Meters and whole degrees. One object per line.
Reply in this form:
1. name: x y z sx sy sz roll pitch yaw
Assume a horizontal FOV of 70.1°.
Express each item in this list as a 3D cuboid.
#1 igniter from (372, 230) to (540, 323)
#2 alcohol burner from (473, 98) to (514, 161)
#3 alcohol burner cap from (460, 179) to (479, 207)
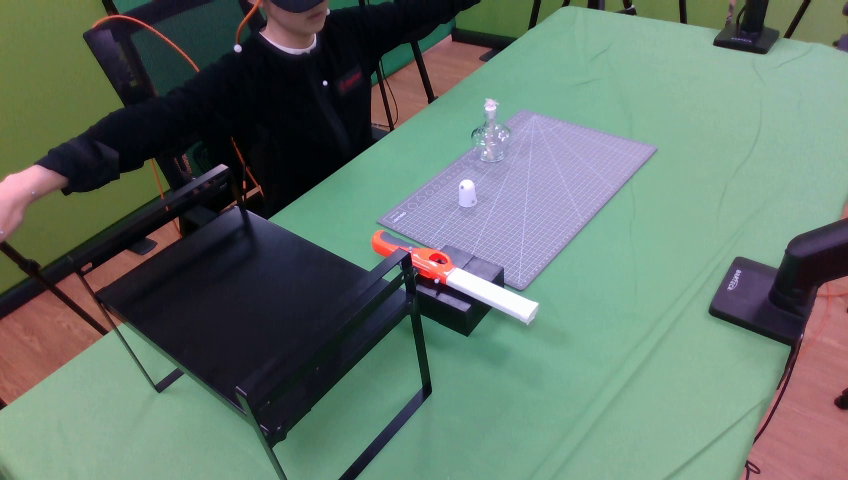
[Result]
1. igniter: 0.032 0.045 0.842 0.274 0.025 0.057 24 47 28
2. alcohol burner: 0.127 -0.208 1.123 0.078 0.119 0.077 -5 39 5
3. alcohol burner cap: 0.078 -0.083 1.041 0.034 0.048 0.033 -5 42 5
